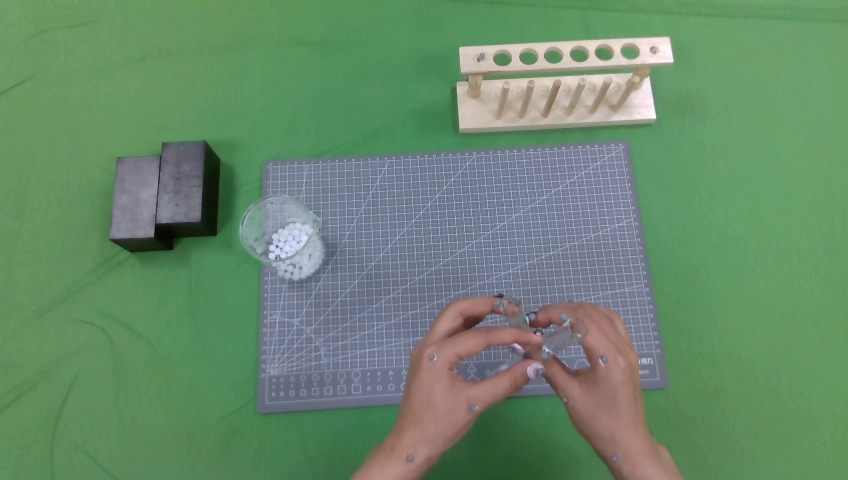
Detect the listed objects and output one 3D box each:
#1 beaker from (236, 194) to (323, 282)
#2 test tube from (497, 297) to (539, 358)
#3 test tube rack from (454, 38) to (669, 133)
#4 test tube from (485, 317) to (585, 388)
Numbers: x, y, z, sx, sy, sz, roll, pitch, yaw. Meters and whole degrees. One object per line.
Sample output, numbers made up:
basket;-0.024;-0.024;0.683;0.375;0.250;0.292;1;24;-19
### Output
beaker;-0.150;0.002;0.663;0.084;0.101;0.073;-11;74;-3
test tube;0.083;0.078;0.517;0.017;0.152;0.017;-7;65;15
test tube rack;0.160;-0.184;0.728;0.242;0.085;0.066;-3;73;0
test tube;0.083;0.094;0.485;0.017;0.151;0.017;9;60;-16
